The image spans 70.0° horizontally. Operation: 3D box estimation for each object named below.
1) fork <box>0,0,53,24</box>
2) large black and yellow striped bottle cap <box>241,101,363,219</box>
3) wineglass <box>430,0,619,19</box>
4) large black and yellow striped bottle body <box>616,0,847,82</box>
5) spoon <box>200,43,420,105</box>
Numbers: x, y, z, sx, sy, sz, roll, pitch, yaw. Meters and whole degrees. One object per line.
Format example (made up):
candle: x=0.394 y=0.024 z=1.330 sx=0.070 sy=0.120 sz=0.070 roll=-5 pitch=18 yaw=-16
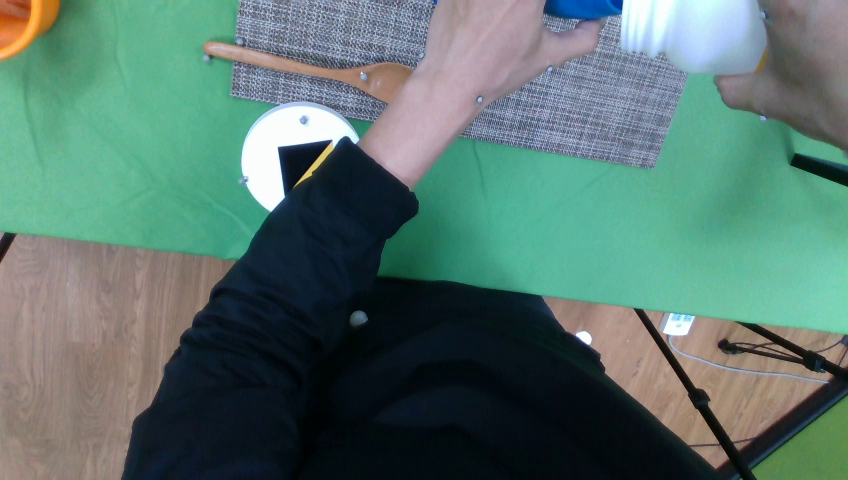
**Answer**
fork: x=-0.351 y=-0.180 z=0.393 sx=0.028 sy=0.018 sz=0.208 roll=-57 pitch=158 yaw=19
large black and yellow striped bottle cap: x=-0.116 y=-0.074 z=0.579 sx=0.115 sy=0.018 sz=0.116 roll=-7 pitch=119 yaw=-12
wineglass: x=0.077 y=-0.207 z=0.461 sx=0.074 sy=0.170 sz=0.074 roll=-18 pitch=117 yaw=-37
large black and yellow striped bottle body: x=0.210 y=-0.159 z=0.342 sx=0.183 sy=0.130 sz=0.131 roll=9 pitch=116 yaw=18
spoon: x=-0.098 y=-0.152 z=0.539 sx=0.194 sy=0.021 sz=0.042 roll=5 pitch=134 yaw=-17
